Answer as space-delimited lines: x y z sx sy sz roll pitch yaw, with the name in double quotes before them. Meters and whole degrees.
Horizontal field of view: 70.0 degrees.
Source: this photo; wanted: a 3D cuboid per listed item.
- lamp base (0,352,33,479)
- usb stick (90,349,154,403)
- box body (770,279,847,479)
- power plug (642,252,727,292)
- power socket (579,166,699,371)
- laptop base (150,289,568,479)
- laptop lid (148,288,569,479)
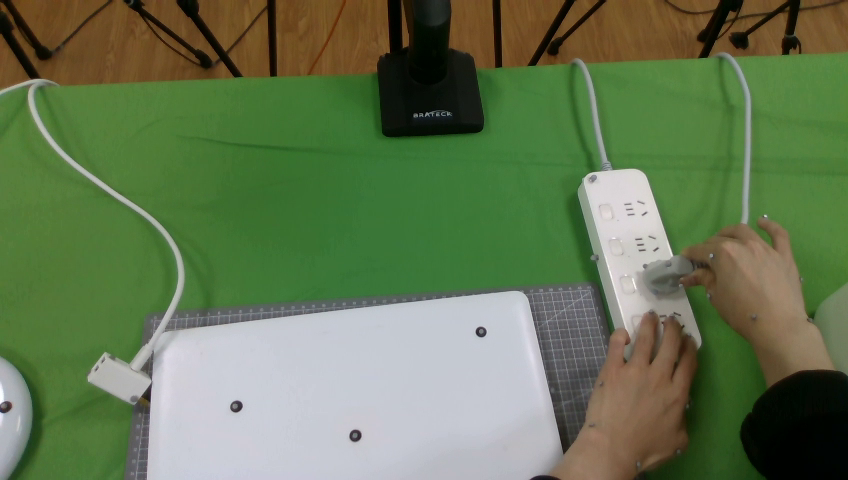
"lamp base" -0.433 0.125 0.456 0.178 0.181 0.160 20 63 11
"usb stick" -0.260 0.123 0.535 0.027 0.060 0.021 -53 30 -14
"box body" 0.427 0.201 0.462 0.253 0.161 0.362 26 64 11
"power plug" 0.249 0.035 0.586 0.072 0.053 0.035 5 63 4
"power socket" 0.216 0.019 0.621 0.072 0.033 0.224 -4 63 -5
"laptop base" -0.058 0.171 0.539 0.355 0.023 0.233 -6 67 -6
"laptop lid" -0.058 0.168 0.527 0.357 0.013 0.239 -5 65 -5
